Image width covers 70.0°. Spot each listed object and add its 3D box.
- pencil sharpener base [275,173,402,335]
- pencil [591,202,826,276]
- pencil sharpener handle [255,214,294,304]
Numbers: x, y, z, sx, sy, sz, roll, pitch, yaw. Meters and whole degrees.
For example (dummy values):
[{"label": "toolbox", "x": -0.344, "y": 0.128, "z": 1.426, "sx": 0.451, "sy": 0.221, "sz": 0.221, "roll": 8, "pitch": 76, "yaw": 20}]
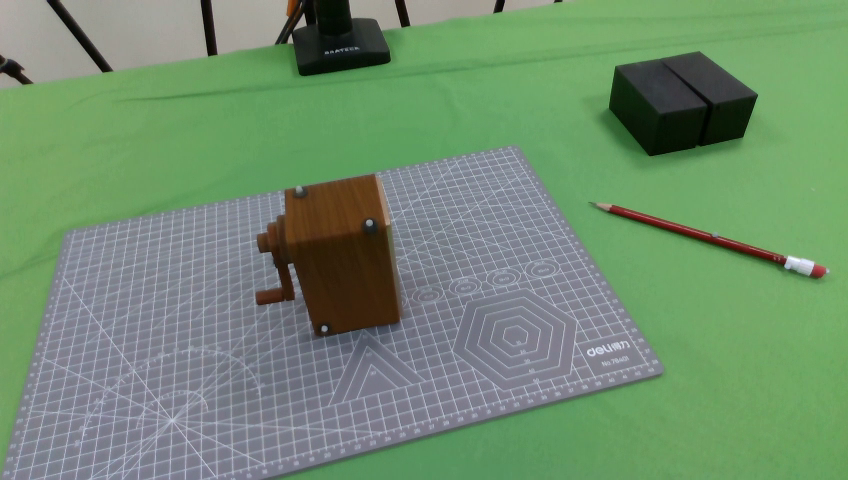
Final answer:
[{"label": "pencil sharpener base", "x": -0.062, "y": 0.013, "z": 0.450, "sx": 0.077, "sy": 0.108, "sz": 0.060, "roll": -10, "pitch": 44, "yaw": -6}, {"label": "pencil", "x": 0.237, "y": -0.005, "z": 0.523, "sx": 0.192, "sy": 0.012, "sz": 0.012, "roll": 20, "pitch": 49, "yaw": 25}, {"label": "pencil sharpener handle", "x": -0.112, "y": 0.016, "z": 0.433, "sx": 0.031, "sy": 0.068, "sz": 0.035, "roll": -10, "pitch": 28, "yaw": -6}]
